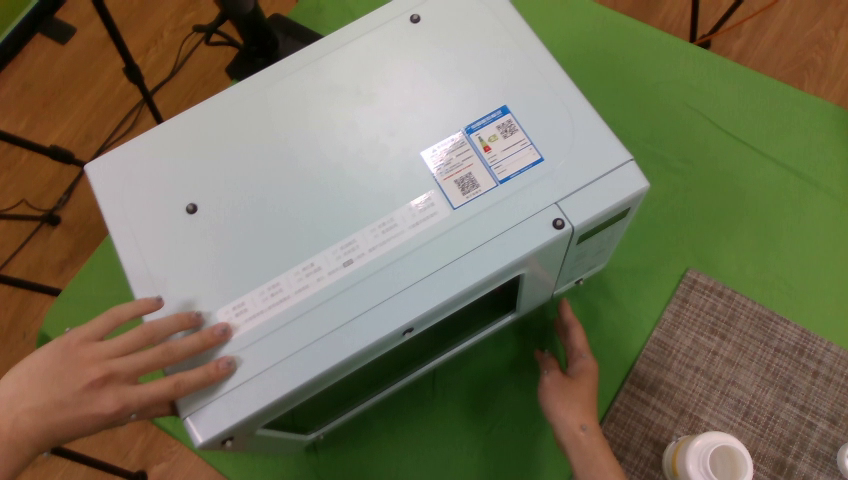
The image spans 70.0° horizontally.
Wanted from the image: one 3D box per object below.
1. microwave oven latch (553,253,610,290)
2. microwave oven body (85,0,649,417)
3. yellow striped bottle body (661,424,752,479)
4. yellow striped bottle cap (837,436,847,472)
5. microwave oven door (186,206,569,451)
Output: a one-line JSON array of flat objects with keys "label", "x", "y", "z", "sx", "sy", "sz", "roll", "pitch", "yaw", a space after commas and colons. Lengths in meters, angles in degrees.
[{"label": "microwave oven latch", "x": 0.180, "y": 0.028, "z": 0.719, "sx": 0.079, "sy": 0.030, "sz": 0.030, "roll": -28, "pitch": 70, "yaw": -3}, {"label": "microwave oven body", "x": -0.057, "y": -0.034, "z": 0.664, "sx": 0.442, "sy": 0.262, "sz": 0.323, "roll": -30, "pitch": 71, "yaw": -4}, {"label": "yellow striped bottle body", "x": 0.285, "y": 0.220, "z": 0.610, "sx": 0.063, "sy": 0.121, "sz": 0.062, "roll": -2, "pitch": 70, "yaw": 6}, {"label": "yellow striped bottle cap", "x": 0.466, "y": 0.230, "z": 0.643, "sx": 0.044, "sy": 0.019, "sz": 0.044, "roll": -3, "pitch": 70, "yaw": 7}, {"label": "microwave oven door", "x": -0.022, "y": 0.102, "z": 0.607, "sx": 0.356, "sy": 0.245, "sz": 0.039, "roll": -30, "pitch": 69, "yaw": -4}]
